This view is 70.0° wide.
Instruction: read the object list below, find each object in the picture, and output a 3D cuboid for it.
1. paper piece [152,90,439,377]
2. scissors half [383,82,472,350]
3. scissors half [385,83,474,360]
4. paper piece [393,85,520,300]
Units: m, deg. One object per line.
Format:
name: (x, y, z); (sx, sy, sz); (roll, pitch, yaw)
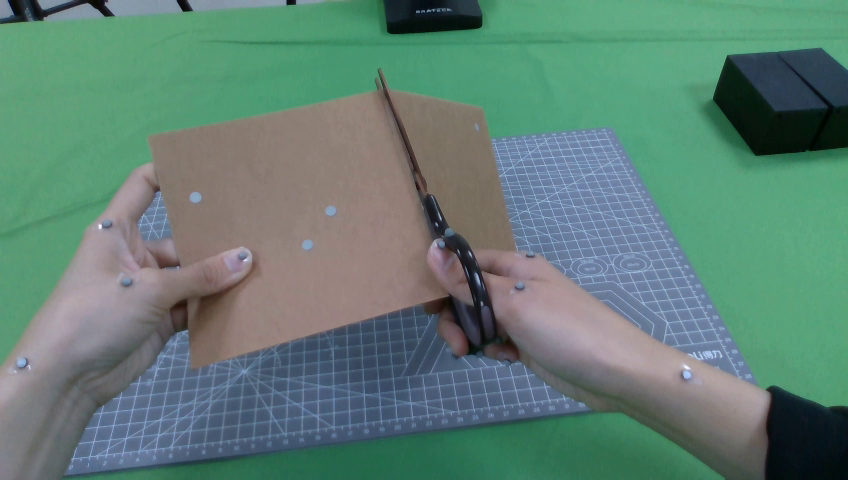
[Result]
paper piece: (-0.069, -0.010, 0.331); (0.136, 0.004, 0.134); (-14, 76, -9)
scissors half: (-0.003, -0.023, 0.334); (0.013, 0.040, 0.173); (-17, 61, 1)
scissors half: (-0.001, -0.015, 0.353); (0.013, 0.040, 0.174); (-15, 77, -4)
paper piece: (0.027, -0.030, 0.414); (0.008, 0.136, 0.139); (-9, 1, 30)
